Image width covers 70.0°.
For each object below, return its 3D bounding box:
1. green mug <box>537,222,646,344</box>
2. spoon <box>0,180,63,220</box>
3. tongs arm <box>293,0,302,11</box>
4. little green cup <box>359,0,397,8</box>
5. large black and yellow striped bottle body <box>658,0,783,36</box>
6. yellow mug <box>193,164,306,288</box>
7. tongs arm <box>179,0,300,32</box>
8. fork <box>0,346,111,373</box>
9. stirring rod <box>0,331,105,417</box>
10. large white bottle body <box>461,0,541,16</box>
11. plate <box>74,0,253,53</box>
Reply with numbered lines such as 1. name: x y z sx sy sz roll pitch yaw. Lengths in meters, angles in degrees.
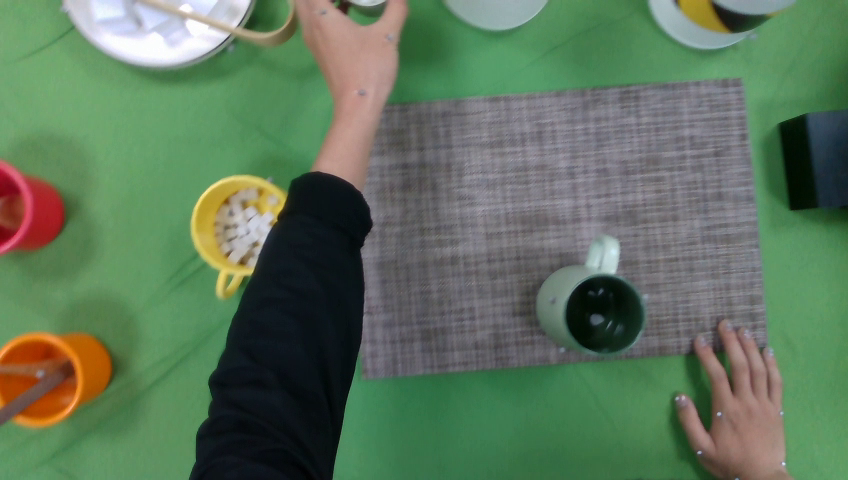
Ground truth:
1. green mug: 0.171 0.043 0.616 0.092 0.105 0.125 12 90 -1
2. spoon: -0.461 -0.045 0.583 0.195 0.021 0.041 4 89 -45
3. tongs arm: -0.270 -0.363 0.609 0.387 0.028 0.028 38 83 1
4. little green cup: -0.046 -0.253 0.575 0.061 0.038 0.061 0 91 2
5. large black and yellow striped bottle body: 0.317 -0.289 0.581 0.131 0.184 0.130 0 90 -1
6. yellow mug: -0.184 -0.011 0.629 0.100 0.064 0.131 21 91 -2
7. tongs arm: -0.311 -0.290 0.606 0.385 0.026 0.050 25 86 1
8. fork: -0.413 0.112 0.582 0.209 0.018 0.028 15 85 -44
9. stirring rod: -0.390 0.147 0.589 0.014 0.006 0.175 46 47 -2
10. large white bottle body: 0.083 -0.308 0.575 0.130 0.184 0.130 0 90 -1
11. plate: -0.270 -0.299 0.639 0.208 0.039 0.207 0 91 -1
